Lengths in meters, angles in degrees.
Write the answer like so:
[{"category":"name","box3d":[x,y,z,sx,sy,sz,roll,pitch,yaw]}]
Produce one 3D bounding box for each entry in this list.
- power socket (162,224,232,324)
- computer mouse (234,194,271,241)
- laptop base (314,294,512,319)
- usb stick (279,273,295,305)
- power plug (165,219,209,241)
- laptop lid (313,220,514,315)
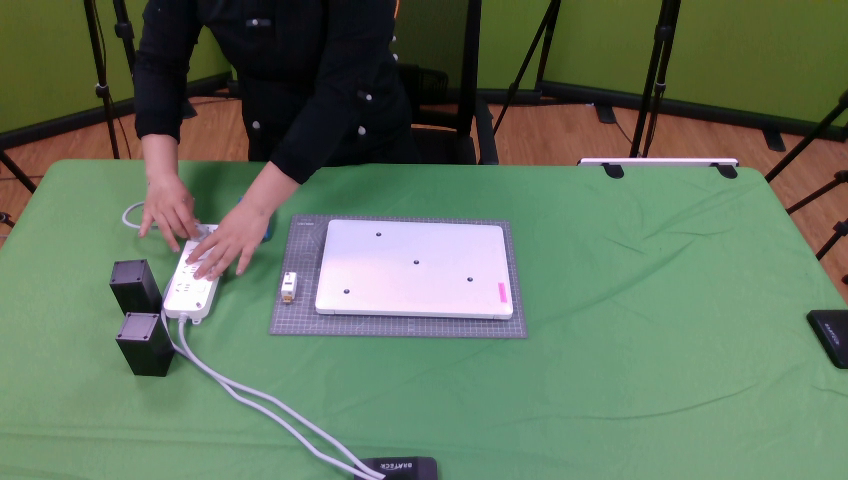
[{"category":"power socket","box3d":[-0.410,0.053,1.106,0.072,0.033,0.225,4,46,-2]},{"category":"computer mouse","box3d":[-0.341,-0.048,1.207,0.063,0.041,0.116,0,50,-7]},{"category":"laptop base","box3d":[-0.018,0.055,1.144,0.354,0.023,0.234,2,42,-2]},{"category":"usb stick","box3d":[-0.245,0.088,1.085,0.021,0.027,0.059,4,48,-4]},{"category":"power plug","box3d":[-0.441,-0.018,1.134,0.072,0.053,0.035,16,43,-5]},{"category":"laptop lid","box3d":[-0.017,0.046,1.137,0.357,0.013,0.240,3,43,-1]}]
